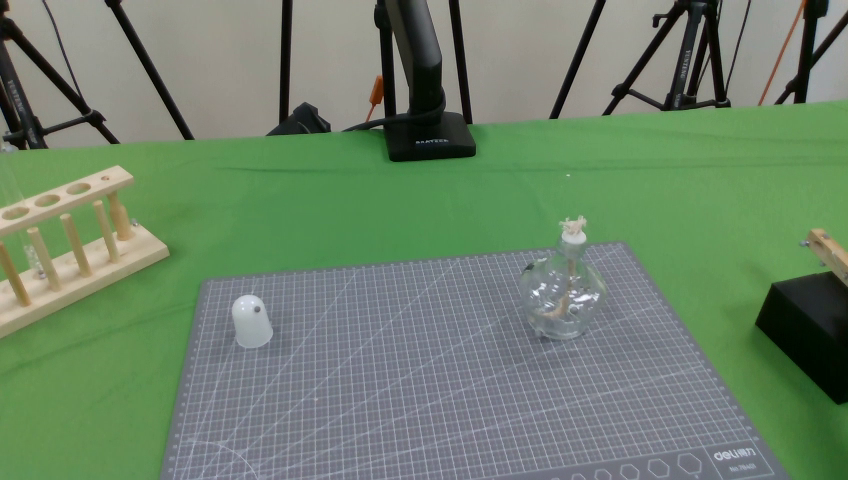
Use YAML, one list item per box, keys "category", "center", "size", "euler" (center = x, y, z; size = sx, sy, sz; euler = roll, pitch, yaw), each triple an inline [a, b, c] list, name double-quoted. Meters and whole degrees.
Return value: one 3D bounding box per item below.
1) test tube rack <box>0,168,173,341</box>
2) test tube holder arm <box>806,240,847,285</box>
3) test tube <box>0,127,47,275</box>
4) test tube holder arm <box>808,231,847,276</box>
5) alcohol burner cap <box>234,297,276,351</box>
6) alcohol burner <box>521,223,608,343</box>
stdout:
- category: "test tube rack"
  center: [-0.372, 0.023, 0.566]
  size: [0.066, 0.086, 0.242]
  euler: [29, 45, 33]
- category: "test tube holder arm"
  center: [0.385, 0.051, 0.514]
  size: [0.015, 0.013, 0.176]
  euler: [-1, 35, -6]
- category: "test tube"
  center: [-0.372, -0.032, 0.557]
  size: [0.017, 0.151, 0.017]
  euler: [2, 31, -1]
- category: "test tube holder arm"
  center: [0.382, 0.020, 0.547]
  size: [0.015, 0.010, 0.087]
  euler: [-1, 36, -6]
- category: "alcohol burner cap"
  center: [-0.151, 0.071, 0.537]
  size: [0.034, 0.048, 0.033]
  euler: [0, 37, 0]
- category: "alcohol burner"
  center: [0.126, 0.033, 0.533]
  size: [0.078, 0.120, 0.077]
  euler: [1, 39, -1]
